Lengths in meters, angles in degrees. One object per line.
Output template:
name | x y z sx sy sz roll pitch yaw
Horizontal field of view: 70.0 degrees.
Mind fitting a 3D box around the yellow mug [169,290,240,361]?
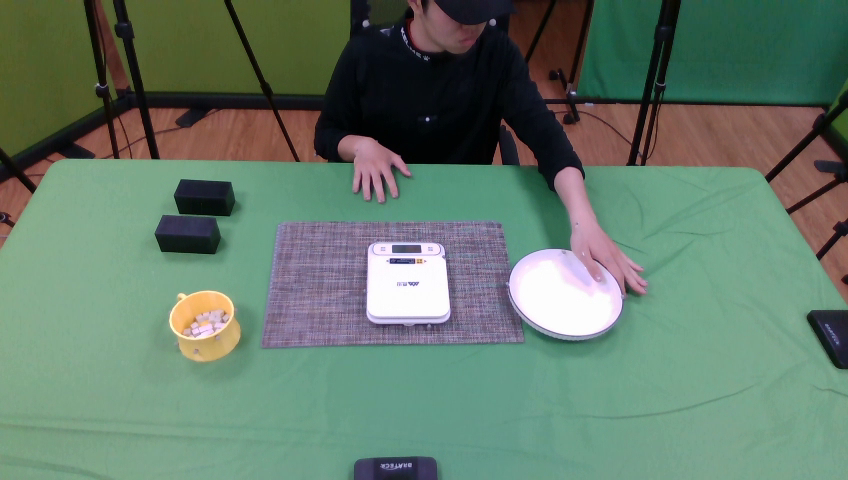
yellow mug | -0.373 0.132 1.009 0.130 0.064 0.100 35 53 27

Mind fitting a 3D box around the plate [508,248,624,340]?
plate | 0.256 0.101 1.106 0.209 0.038 0.208 2 45 -2

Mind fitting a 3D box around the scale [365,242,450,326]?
scale | -0.032 0.071 1.113 0.149 0.032 0.199 0 46 -4
